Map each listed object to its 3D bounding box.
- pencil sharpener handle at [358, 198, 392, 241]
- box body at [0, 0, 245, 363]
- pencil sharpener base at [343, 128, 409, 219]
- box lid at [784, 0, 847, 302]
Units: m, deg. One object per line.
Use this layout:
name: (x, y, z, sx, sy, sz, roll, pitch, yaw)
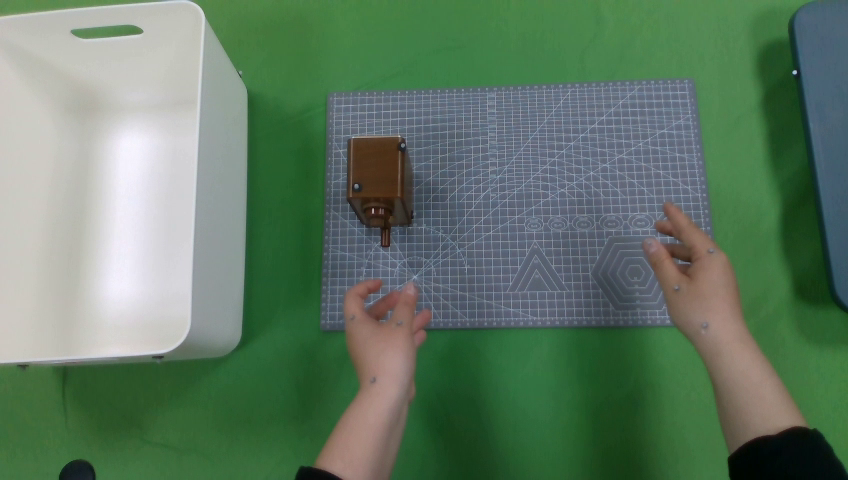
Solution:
pencil sharpener handle: (-0.048, -0.021, 0.647, 0.036, 0.068, 0.030, -3, 76, 11)
box body: (-0.339, -0.050, 0.660, 0.254, 0.161, 0.362, -4, 76, 2)
pencil sharpener base: (-0.050, -0.067, 0.671, 0.061, 0.107, 0.076, -1, 77, 3)
box lid: (0.547, -0.115, 0.654, 0.263, 0.015, 0.369, -2, 77, 3)
